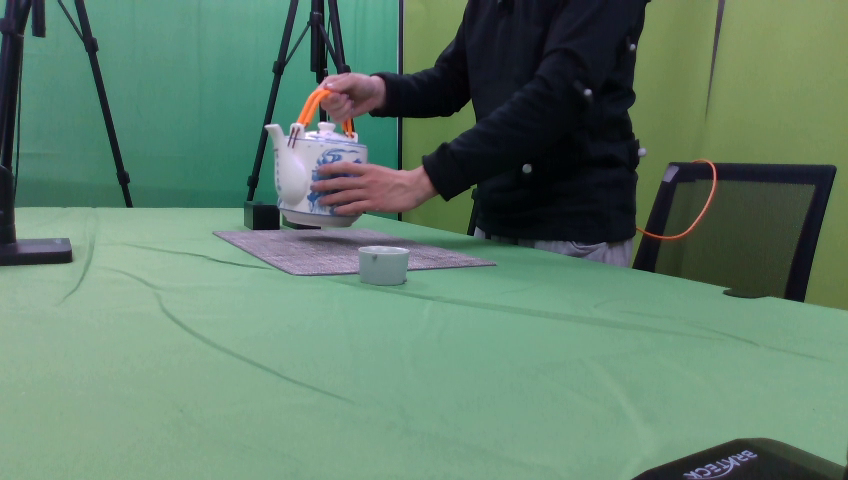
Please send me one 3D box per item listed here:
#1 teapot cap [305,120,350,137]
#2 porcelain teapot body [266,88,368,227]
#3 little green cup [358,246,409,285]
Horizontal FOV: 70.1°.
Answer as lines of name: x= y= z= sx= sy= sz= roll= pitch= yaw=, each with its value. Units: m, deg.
teapot cap: x=-0.165 y=-0.180 z=1.020 sx=0.085 sy=0.044 sz=0.085 roll=3 pitch=7 yaw=0
porcelain teapot body: x=-0.183 y=-0.140 z=1.000 sx=0.144 sy=0.225 sz=0.206 roll=11 pitch=10 yaw=29
little green cup: x=-0.048 y=0.030 z=0.707 sx=0.061 sy=0.038 sz=0.061 roll=2 pitch=8 yaw=0
